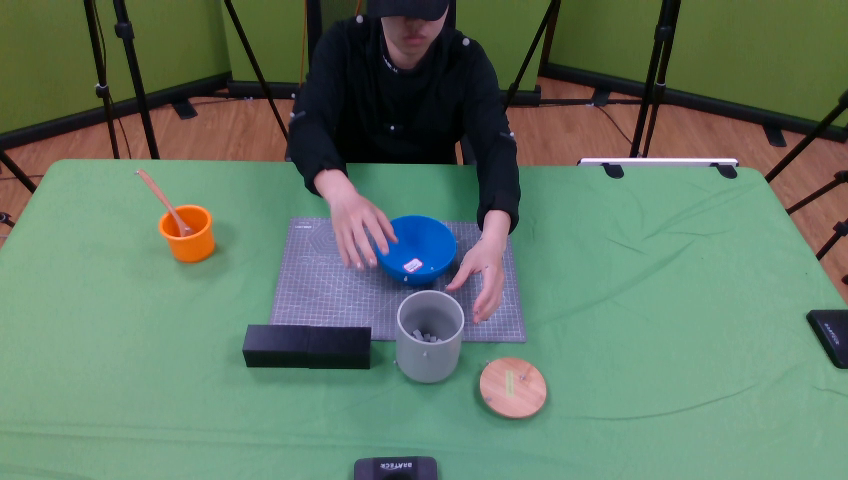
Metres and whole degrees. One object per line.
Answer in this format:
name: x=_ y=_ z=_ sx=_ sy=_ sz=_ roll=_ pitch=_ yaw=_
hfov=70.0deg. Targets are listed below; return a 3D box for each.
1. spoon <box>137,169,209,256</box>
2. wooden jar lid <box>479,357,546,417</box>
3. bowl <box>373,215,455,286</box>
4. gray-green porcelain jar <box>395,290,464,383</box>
spoon: x=-0.465 y=-0.051 z=1.123 sx=0.041 sy=0.194 sz=0.021 roll=-40 pitch=17 yaw=-32
wooden jar lid: x=0.142 y=0.240 z=0.979 sx=0.108 sy=0.021 sz=0.107 roll=1 pitch=45 yaw=-1
bowl: x=-0.020 y=0.032 z=1.122 sx=0.151 sy=0.077 sz=0.150 roll=3 pitch=46 yaw=-3
gray-green porcelain jar: x=0.006 y=0.160 z=0.972 sx=0.106 sy=0.127 sz=0.105 roll=2 pitch=46 yaw=-2
